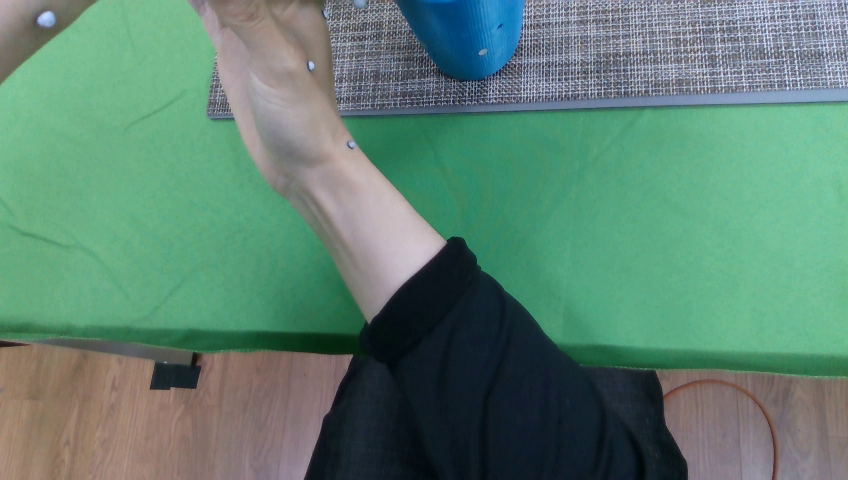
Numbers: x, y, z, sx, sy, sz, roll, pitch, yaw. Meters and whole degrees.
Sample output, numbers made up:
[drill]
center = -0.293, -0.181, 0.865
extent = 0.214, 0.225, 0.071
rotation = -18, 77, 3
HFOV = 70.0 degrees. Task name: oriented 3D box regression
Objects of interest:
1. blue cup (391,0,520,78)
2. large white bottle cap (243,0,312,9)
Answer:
[blue cup]
center = 0.022, -0.152, 0.373
extent = 0.092, 0.101, 0.092
rotation = -3, 73, 12
[large white bottle cap]
center = -0.107, -0.231, 0.463
extent = 0.114, 0.018, 0.114
rotation = -3, 75, 10
